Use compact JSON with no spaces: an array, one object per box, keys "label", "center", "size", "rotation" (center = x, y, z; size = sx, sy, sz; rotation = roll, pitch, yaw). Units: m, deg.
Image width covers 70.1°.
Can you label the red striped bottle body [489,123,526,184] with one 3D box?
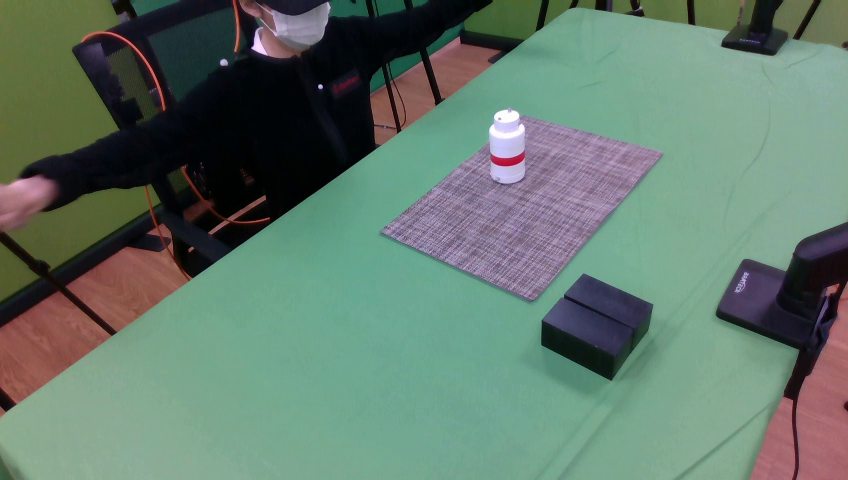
[{"label":"red striped bottle body","center":[0.147,-0.164,1.064],"size":[0.063,0.120,0.062],"rotation":[-5,39,4]}]

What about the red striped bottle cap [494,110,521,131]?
[{"label":"red striped bottle cap","center":[0.142,-0.204,1.030],"size":[0.044,0.018,0.044],"rotation":[-6,38,5]}]
